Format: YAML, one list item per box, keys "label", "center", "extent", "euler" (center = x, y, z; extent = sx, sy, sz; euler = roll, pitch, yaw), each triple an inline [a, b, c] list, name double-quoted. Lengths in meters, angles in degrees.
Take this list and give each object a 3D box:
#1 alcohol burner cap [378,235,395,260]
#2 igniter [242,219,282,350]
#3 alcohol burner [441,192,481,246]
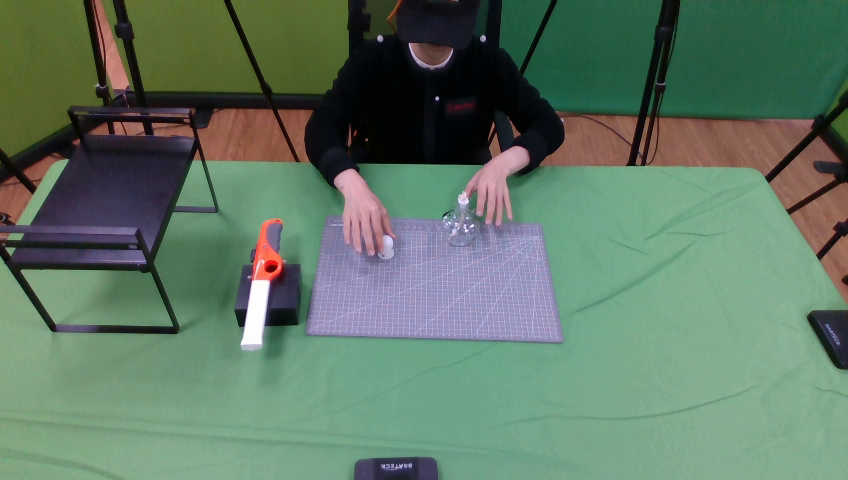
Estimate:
- label: "alcohol burner cap"
  center: [-0.072, 0.012, 1.160]
  extent: [0.034, 0.048, 0.033]
  euler: [0, 46, 0]
- label: "igniter"
  center: [-0.277, 0.065, 1.043]
  extent: [0.057, 0.025, 0.274]
  euler: [1, 48, -6]
- label: "alcohol burner"
  center: [0.073, -0.046, 1.176]
  extent: [0.078, 0.119, 0.077]
  euler: [3, 44, -2]
